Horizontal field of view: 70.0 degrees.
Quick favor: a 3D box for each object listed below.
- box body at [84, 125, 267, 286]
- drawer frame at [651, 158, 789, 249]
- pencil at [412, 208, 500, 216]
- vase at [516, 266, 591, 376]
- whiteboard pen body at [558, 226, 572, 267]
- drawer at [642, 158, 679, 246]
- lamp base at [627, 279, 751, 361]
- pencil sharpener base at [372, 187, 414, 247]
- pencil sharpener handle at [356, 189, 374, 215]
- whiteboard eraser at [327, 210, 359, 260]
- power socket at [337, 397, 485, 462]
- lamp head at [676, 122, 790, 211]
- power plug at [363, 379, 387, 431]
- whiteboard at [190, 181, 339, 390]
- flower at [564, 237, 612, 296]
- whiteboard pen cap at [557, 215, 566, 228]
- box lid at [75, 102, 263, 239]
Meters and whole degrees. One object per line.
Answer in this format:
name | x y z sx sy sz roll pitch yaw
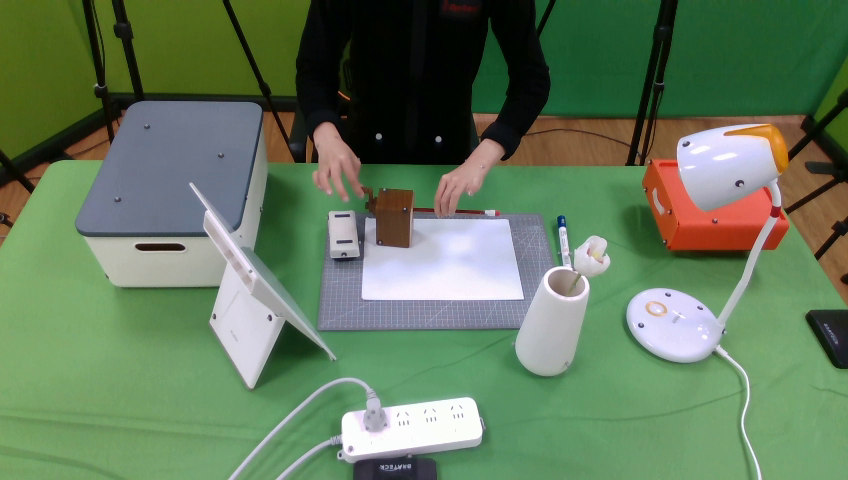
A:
box body | -0.446 -0.088 1.150 0.254 0.161 0.361 -1 46 -5
drawer frame | 0.571 -0.075 1.214 0.214 0.083 0.200 0 46 -1
pencil | 0.047 -0.055 1.150 0.194 0.012 0.012 2 46 2
vase | 0.208 0.132 0.964 0.098 0.201 0.097 3 46 -3
whiteboard pen body | 0.280 0.010 1.208 0.017 0.017 0.140 3 50 -1
drawer | 0.566 -0.076 1.211 0.212 0.073 0.193 2 45 -2
lamp base | 0.460 0.100 1.027 0.178 0.181 0.160 27 51 17
pencil sharpener base | -0.060 -0.043 1.171 0.077 0.107 0.061 5 46 1
pencil sharpener handle | -0.110 -0.074 1.138 0.030 0.068 0.036 5 61 1
whiteboard eraser | -0.159 -0.009 1.177 0.055 0.042 0.112 -6 47 -7
power socket | -0.018 0.285 0.915 0.227 0.033 0.071 -5 46 -8
lamp head | 0.423 -0.104 0.819 0.122 0.113 0.112 -13 33 40
power plug | -0.072 0.252 0.910 0.035 0.053 0.072 3 45 -1
whiteboard | -0.292 0.096 0.929 0.144 0.307 0.216 -37 57 -10
flower | 0.206 0.088 0.893 0.038 0.363 0.044 -16 67 -9
whiteboard pen cap | 0.284 -0.034 1.246 0.018 0.018 0.033 4 52 -1
box lid | -0.443 -0.138 1.094 0.263 0.015 0.369 -1 47 -5
